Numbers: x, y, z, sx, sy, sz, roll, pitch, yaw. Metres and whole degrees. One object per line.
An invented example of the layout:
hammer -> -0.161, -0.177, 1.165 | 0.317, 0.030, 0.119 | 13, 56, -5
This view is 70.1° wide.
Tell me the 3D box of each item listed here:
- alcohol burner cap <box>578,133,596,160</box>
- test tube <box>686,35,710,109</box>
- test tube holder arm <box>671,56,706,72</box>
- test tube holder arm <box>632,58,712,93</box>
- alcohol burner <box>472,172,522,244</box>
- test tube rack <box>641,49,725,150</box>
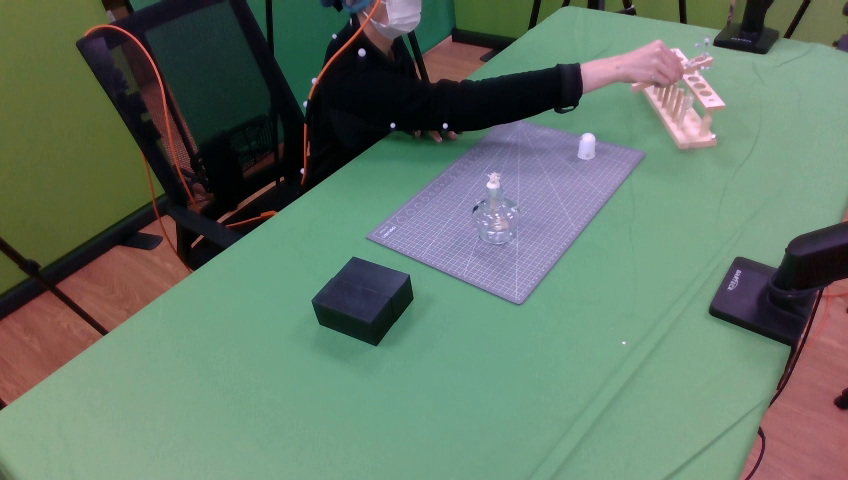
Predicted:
alcohol burner cap -> 0.301, -0.174, 1.111 | 0.034, 0.048, 0.033 | -5, 40, 4
test tube -> 0.507, -0.309, 1.126 | 0.017, 0.151, 0.017 | -4, 45, 4
test tube holder arm -> 0.483, -0.317, 1.106 | 0.088, 0.015, 0.010 | -28, 43, -24
test tube holder arm -> 0.447, -0.297, 1.087 | 0.179, 0.015, 0.013 | -22, 40, -18
alcohol burner -> 0.112, -0.053, 0.942 | 0.078, 0.119, 0.077 | -6, 40, 5
test tube rack -> 0.495, -0.279, 1.175 | 0.067, 0.085, 0.241 | -5, 41, 3
